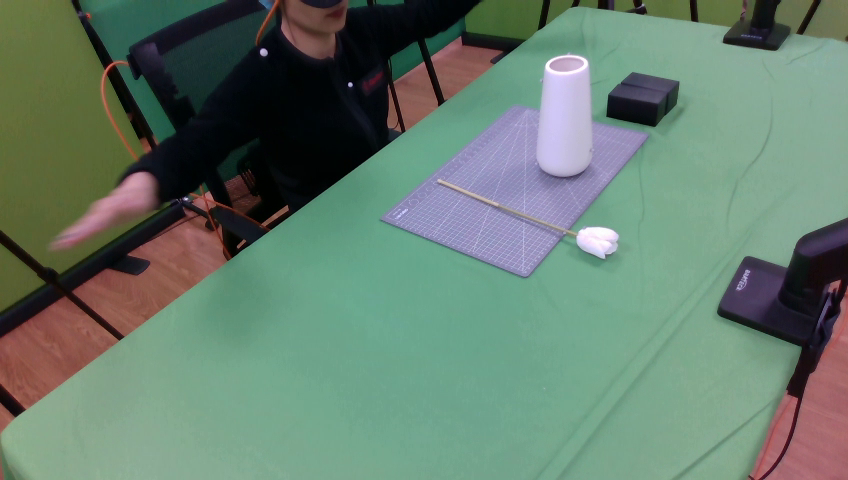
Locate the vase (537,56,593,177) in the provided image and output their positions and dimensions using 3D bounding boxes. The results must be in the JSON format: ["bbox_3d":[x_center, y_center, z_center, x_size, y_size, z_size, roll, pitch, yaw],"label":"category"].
[{"bbox_3d":[0.245,-0.209,1.040,0.098,0.201,0.097,-4,40,4],"label":"vase"}]

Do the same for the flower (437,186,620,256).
[{"bbox_3d":[0.156,-0.045,1.011,0.358,0.038,0.044,22,85,38],"label":"flower"}]
